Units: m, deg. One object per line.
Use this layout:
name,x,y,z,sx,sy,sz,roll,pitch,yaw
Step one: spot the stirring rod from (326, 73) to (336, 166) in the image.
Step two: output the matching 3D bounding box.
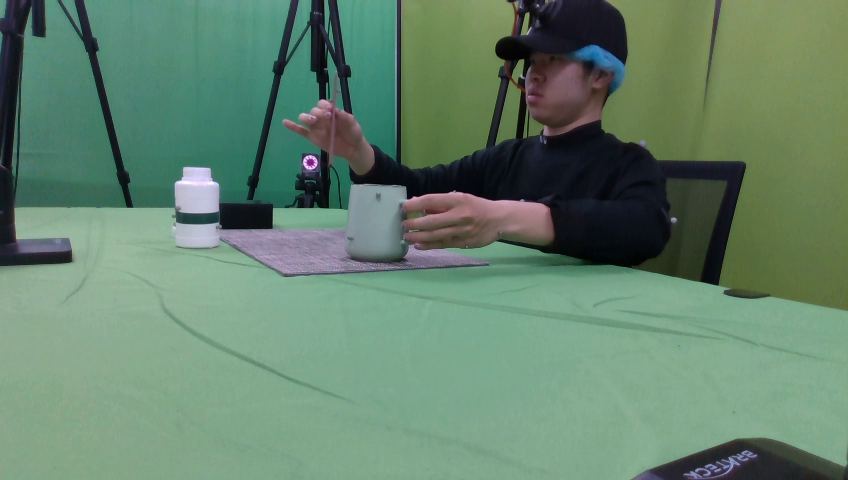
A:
stirring rod,-0.158,-0.207,1.029,0.006,0.176,0.014,7,-20,-17

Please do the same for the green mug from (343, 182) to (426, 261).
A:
green mug,-0.053,-0.026,0.848,0.125,0.105,0.093,6,8,29

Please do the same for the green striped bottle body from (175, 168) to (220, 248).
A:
green striped bottle body,-0.345,-0.050,0.924,0.063,0.119,0.063,2,7,0

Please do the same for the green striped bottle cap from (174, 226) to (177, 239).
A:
green striped bottle cap,-0.405,-0.015,1.036,0.044,0.020,0.044,-1,10,0
